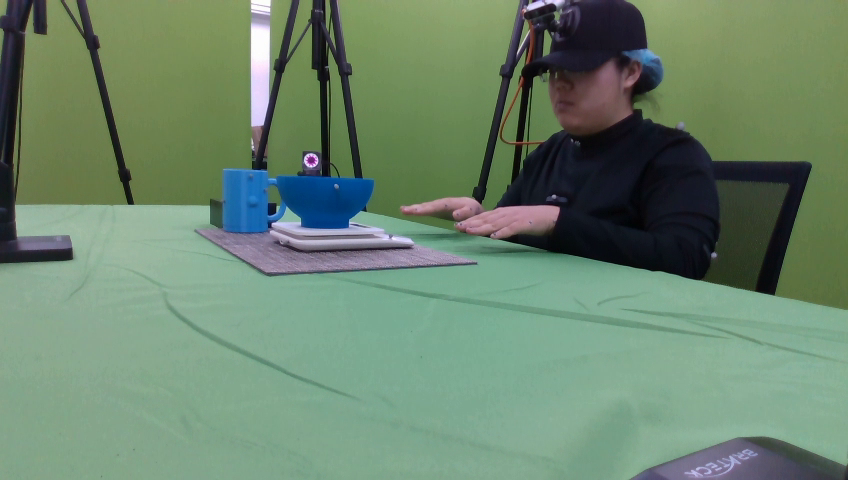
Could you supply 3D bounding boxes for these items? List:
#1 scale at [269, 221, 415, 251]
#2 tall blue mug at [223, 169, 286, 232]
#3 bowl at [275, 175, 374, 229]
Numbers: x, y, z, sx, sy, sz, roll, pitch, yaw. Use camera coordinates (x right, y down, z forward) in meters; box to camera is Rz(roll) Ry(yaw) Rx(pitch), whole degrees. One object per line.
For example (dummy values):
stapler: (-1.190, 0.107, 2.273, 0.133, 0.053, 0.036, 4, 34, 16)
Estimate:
scale: (-0.130, -0.008, 0.959, 0.202, 0.031, 0.148, -1, 9, -32)
tall blue mug: (-0.310, -0.072, 1.091, 0.077, 0.108, 0.107, 5, 8, 27)
bowl: (-0.153, -0.059, 0.932, 0.151, 0.077, 0.151, 2, 6, 0)
